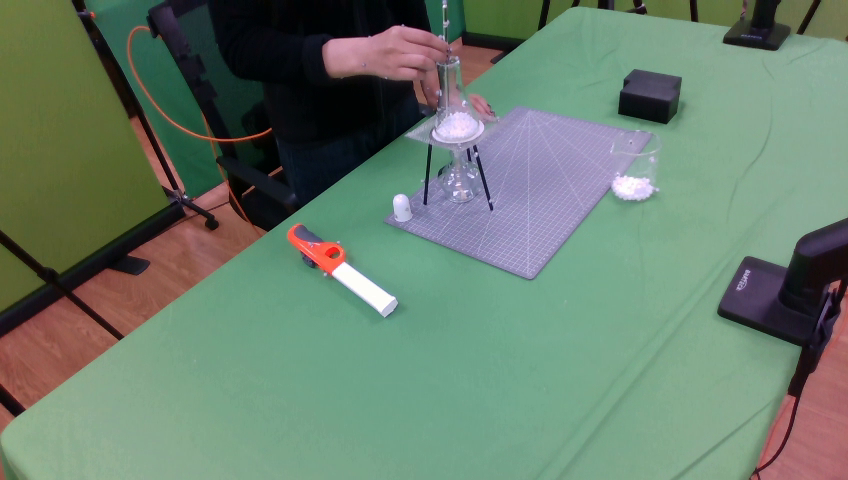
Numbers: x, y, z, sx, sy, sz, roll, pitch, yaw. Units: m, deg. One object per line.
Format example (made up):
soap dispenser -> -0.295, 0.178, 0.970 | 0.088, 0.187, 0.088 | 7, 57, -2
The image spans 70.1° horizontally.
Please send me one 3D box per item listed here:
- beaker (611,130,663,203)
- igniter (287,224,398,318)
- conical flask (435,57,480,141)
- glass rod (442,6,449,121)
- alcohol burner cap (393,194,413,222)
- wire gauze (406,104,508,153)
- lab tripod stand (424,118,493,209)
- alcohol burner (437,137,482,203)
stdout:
beaker -> 0.346, -0.118, 0.998 | 0.084, 0.101, 0.073 | -17, 40, -7
igniter -> -0.139, 0.042, 0.958 | 0.057, 0.025, 0.274 | -42, 49, -19
conical flask -> 0.046, -0.225, 0.955 | 0.075, 0.122, 0.075 | -8, 38, 6
glass rod -> 0.034, -0.266, 0.935 | 0.008, 0.200, 0.008 | -2, 49, 2
alcohol burner cap -> -0.039, -0.057, 1.038 | 0.034, 0.048, 0.033 | -6, 40, 5
wire gauze -> 0.054, -0.183, 0.997 | 0.120, 0.011, 0.125 | 25, 53, 38
lab tripod stand -> 0.061, -0.133, 1.039 | 0.148, 0.132, 0.147 | -6, 38, 6
alcohol burner -> 0.060, -0.125, 1.045 | 0.078, 0.119, 0.077 | -5, 38, 4
